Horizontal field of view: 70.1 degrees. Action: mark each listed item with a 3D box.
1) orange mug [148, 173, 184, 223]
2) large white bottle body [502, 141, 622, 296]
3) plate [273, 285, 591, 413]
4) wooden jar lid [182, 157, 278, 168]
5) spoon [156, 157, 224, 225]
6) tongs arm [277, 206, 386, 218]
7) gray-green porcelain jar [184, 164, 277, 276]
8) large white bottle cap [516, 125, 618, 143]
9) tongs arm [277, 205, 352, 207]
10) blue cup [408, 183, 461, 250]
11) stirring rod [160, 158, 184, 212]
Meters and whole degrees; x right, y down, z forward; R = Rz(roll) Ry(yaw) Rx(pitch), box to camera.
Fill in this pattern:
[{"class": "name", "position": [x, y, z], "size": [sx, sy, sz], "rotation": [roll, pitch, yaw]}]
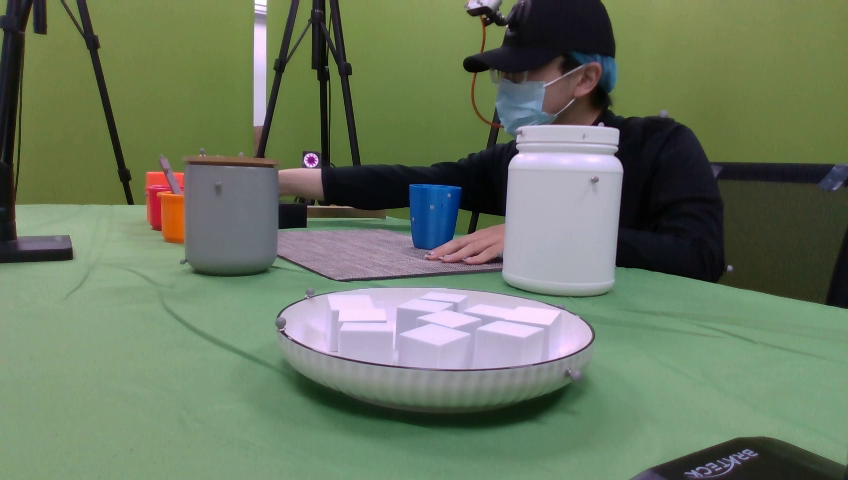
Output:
[{"class": "orange mug", "position": [-0.490, -0.087, 1.222], "size": [0.127, 0.101, 0.083], "rotation": [-9, 13, -38]}, {"class": "large white bottle body", "position": [0.160, -0.037, 0.706], "size": [0.131, 0.184, 0.130], "rotation": [2, 7, 0]}, {"class": "plate", "position": [0.004, 0.069, 0.407], "size": [0.208, 0.039, 0.207], "rotation": [2, 7, 0]}, {"class": "wooden jar lid", "position": [-0.227, -0.086, 0.714], "size": [0.108, 0.020, 0.108], "rotation": [1, 6, 0]}, {"class": "spoon", "position": [-0.425, -0.093, 1.117], "size": [0.041, 0.022, 0.194], "rotation": [12, 53, 22]}, {"class": "tongs arm", "position": [-0.251, -0.063, 1.360], "size": [0.387, 0.026, 0.050], "rotation": [-1, 4, -31]}, {"class": "gray-green porcelain jar", "position": [-0.230, -0.025, 0.722], "size": [0.106, 0.126, 0.106], "rotation": [3, 7, 0]}, {"class": "large white bottle cap", "position": [0.163, -0.120, 0.695], "size": [0.115, 0.018, 0.115], "rotation": [2, 7, 0]}, {"class": "tongs arm", "position": [-0.288, -0.070, 1.435], "size": [0.389, 0.027, 0.028], "rotation": [0, 0, -17]}, {"class": "blue cup", "position": [0.015, -0.038, 0.970], "size": [0.093, 0.100, 0.092], "rotation": [3, 9, 0]}, {"class": "stirring rod", "position": [-0.391, -0.070, 0.972], "size": [0.014, 0.006, 0.175], "rotation": [-3, 51, -48]}]
